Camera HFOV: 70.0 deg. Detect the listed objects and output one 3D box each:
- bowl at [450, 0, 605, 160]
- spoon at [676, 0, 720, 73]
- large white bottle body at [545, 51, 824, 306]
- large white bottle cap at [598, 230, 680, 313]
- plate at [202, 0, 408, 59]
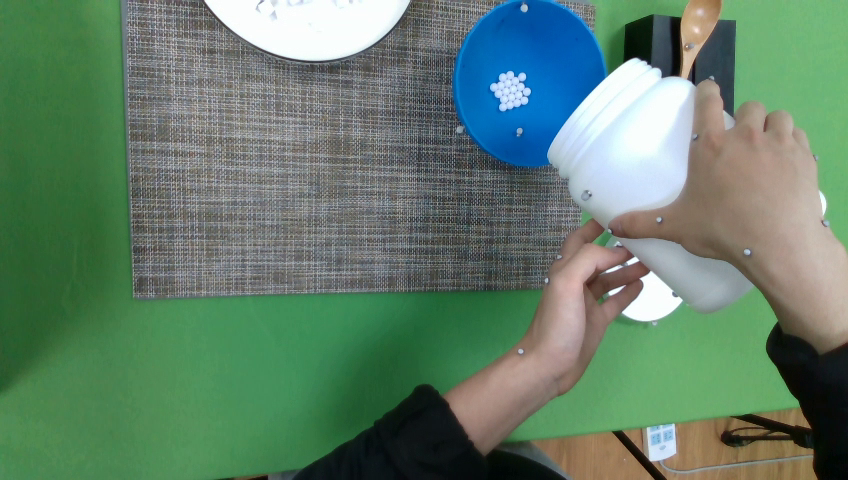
[{"bbox_3d":[0.088,-0.152,0.584,0.152,0.076,0.151,-2,98,-15],"label":"bowl"},{"bbox_3d":[0.256,-0.162,0.617,0.042,0.021,0.194,12,100,-20],"label":"spoon"},{"bbox_3d":[0.202,-0.053,0.494,0.130,0.131,0.183,-43,77,-6],"label":"large white bottle body"},{"bbox_3d":[0.253,0.027,0.692,0.115,0.018,0.115,-2,99,-16],"label":"large white bottle cap"},{"bbox_3d":[-0.108,-0.263,0.534,0.210,0.038,0.209,-1,95,-16],"label":"plate"}]
